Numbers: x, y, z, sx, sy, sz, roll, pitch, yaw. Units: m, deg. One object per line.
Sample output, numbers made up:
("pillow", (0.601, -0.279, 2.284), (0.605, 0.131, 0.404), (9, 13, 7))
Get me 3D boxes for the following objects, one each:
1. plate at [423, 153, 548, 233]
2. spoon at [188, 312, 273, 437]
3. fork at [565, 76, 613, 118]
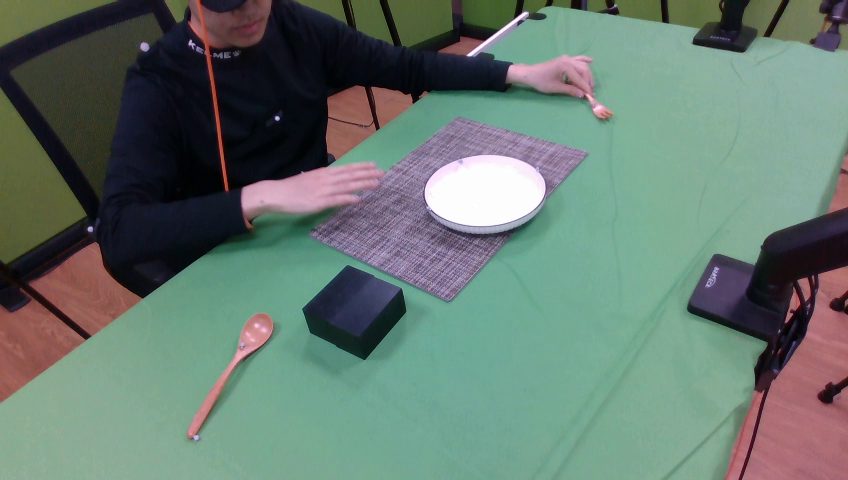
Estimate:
("plate", (0.104, -0.076, 1.024), (0.209, 0.038, 0.208), (-4, 40, 4))
("spoon", (-0.258, 0.173, 0.803), (0.041, 0.021, 0.193), (20, 45, 6))
("fork", (0.342, -0.303, 1.273), (0.028, 0.019, 0.206), (-25, 43, 3))
